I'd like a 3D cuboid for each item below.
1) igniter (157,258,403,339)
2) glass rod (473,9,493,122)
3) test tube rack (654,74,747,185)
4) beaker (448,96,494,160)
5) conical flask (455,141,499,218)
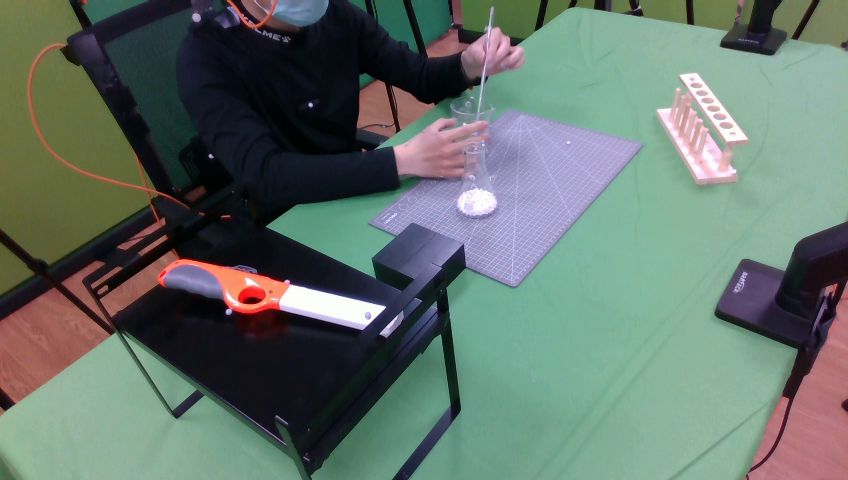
[{"bbox_3d":[-0.157,0.059,0.638,0.275,0.025,0.057,11,43,14],"label":"igniter"},{"bbox_3d":[0.105,-0.310,1.077,0.008,0.199,0.008,9,4,0],"label":"glass rod"},{"bbox_3d":[0.491,-0.205,1.092,0.067,0.085,0.241,-5,40,3],"label":"test tube rack"},{"bbox_3d":[0.084,-0.207,1.125,0.084,0.100,0.073,2,39,1],"label":"beaker"},{"bbox_3d":[0.085,-0.103,0.999,0.075,0.122,0.075,-4,40,4],"label":"conical flask"}]
